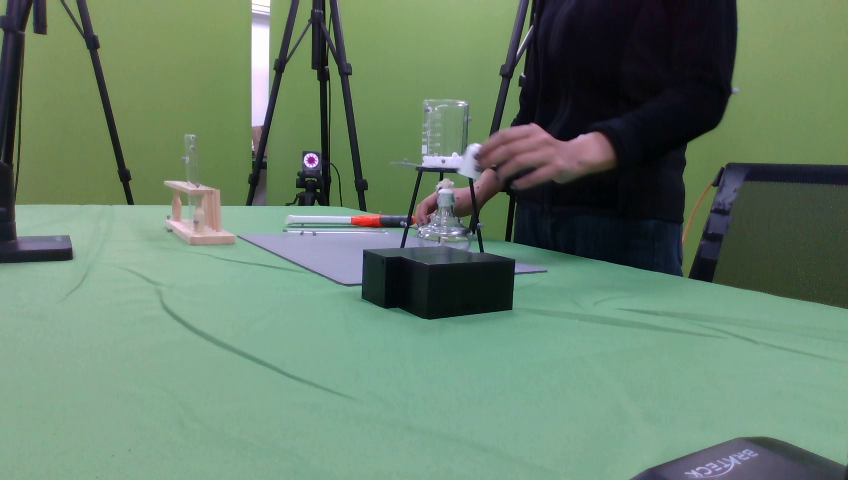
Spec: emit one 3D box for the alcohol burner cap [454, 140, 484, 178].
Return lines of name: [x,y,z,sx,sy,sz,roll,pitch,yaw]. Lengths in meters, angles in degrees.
alcohol burner cap: [0.063,-0.108,0.800,0.034,0.048,0.034,17,11,-3]

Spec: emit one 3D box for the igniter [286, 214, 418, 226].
igniter: [-0.146,-0.043,1.263,0.278,0.025,0.057,-1,-2,-24]

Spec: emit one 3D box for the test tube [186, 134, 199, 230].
test tube: [-0.360,-0.089,0.946,0.017,0.150,0.017,0,10,0]

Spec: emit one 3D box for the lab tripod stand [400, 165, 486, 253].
lab tripod stand: [0.027,-0.049,0.930,0.148,0.131,0.148,3,9,0]

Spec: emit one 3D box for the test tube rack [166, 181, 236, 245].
test tube rack: [-0.383,-0.051,1.024,0.067,0.085,0.241,-2,9,-31]

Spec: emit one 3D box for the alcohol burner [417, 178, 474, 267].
alcohol burner: [0.029,-0.024,0.810,0.078,0.119,0.078,1,8,0]

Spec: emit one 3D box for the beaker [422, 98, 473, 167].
beaker: [0.031,-0.162,0.919,0.074,0.100,0.083,-4,10,-36]

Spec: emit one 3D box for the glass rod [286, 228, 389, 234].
glass rod: [-0.154,-0.016,1.101,0.201,0.008,0.008,1,6,-31]

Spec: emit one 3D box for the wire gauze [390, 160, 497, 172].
wire gauze: [0.027,-0.114,0.920,0.122,0.011,0.124,-5,13,-34]
